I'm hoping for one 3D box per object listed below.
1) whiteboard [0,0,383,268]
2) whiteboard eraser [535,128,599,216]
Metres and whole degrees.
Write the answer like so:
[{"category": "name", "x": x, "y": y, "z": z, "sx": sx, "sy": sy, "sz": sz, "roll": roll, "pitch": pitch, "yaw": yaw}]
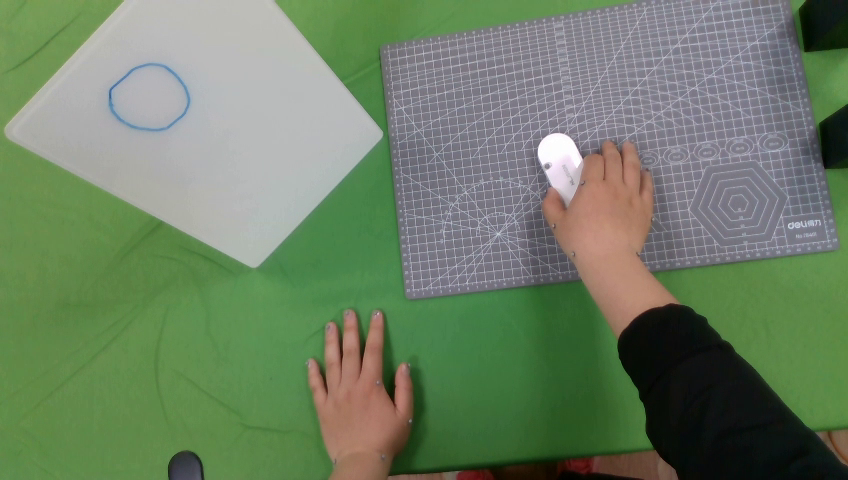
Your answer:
[{"category": "whiteboard", "x": -0.218, "y": -0.141, "z": 0.599, "sx": 0.217, "sy": 0.308, "sz": 0.142, "roll": -46, "pitch": 59, "yaw": 1}, {"category": "whiteboard eraser", "x": 0.153, "y": -0.073, "z": 0.651, "sx": 0.041, "sy": 0.019, "sz": 0.101, "roll": -25, "pitch": 80, "yaw": 4}]
